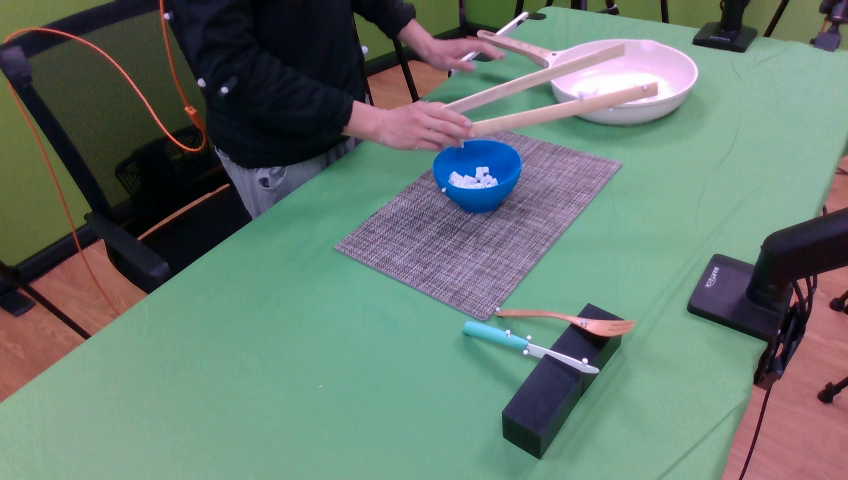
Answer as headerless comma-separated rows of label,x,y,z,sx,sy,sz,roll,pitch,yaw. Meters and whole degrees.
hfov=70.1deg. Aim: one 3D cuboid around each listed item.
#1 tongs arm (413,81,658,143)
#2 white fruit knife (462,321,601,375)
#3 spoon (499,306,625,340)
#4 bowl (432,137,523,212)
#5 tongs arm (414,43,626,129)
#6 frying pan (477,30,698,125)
tongs arm,0.172,-0.209,0.968,0.384,0.027,0.050,-12,44,6
white fruit knife,0.126,0.132,0.752,0.205,0.027,0.016,12,47,42
spoon,0.169,0.101,0.773,0.042,0.021,0.192,-10,13,-38
bowl,0.091,-0.100,1.022,0.151,0.077,0.150,-4,42,4
tongs arm,0.164,-0.259,1.025,0.388,0.028,0.028,-20,47,-2
frying pan,0.321,-0.371,1.290,0.484,0.103,0.308,29,51,24
